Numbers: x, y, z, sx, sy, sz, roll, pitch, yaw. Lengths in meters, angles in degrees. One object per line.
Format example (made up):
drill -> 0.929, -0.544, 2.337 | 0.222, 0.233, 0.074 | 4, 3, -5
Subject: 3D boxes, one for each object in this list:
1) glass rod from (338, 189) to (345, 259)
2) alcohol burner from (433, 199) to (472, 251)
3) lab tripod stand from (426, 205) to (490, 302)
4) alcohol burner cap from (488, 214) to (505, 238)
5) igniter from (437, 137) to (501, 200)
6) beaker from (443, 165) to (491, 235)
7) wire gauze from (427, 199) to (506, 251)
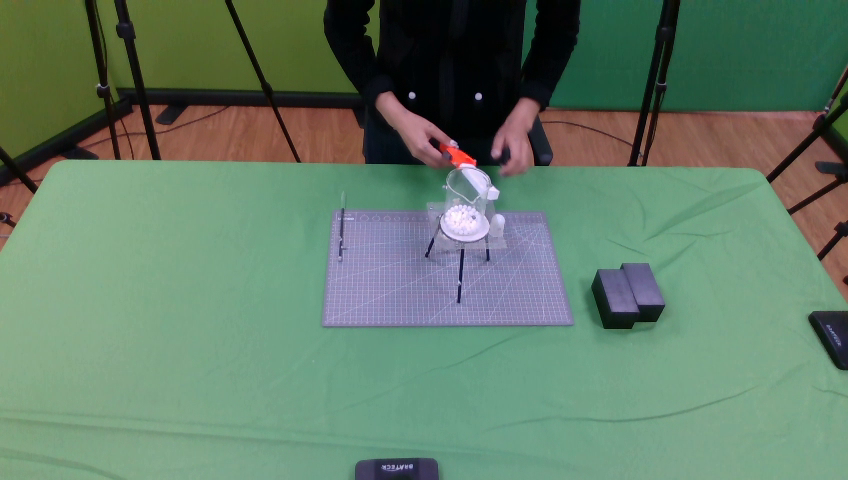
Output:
glass rod -> -0.166, -0.036, 1.227 | 0.008, 0.008, 0.198 | -1, 46, -4
alcohol burner -> 0.056, -0.036, 1.170 | 0.078, 0.119, 0.077 | 3, 48, -3
lab tripod stand -> 0.069, 0.017, 1.106 | 0.148, 0.132, 0.147 | 3, 47, -3
alcohol burner cap -> 0.148, -0.032, 1.222 | 0.034, 0.048, 0.033 | 2, 45, -2
igniter -> 0.078, -0.143, 1.160 | 0.057, 0.025, 0.274 | 5, 27, -22
beaker -> 0.070, -0.062, 1.023 | 0.074, 0.101, 0.083 | -2, 48, -6
wire gauze -> 0.072, -0.028, 1.057 | 0.125, 0.011, 0.120 | -1, 49, -8
